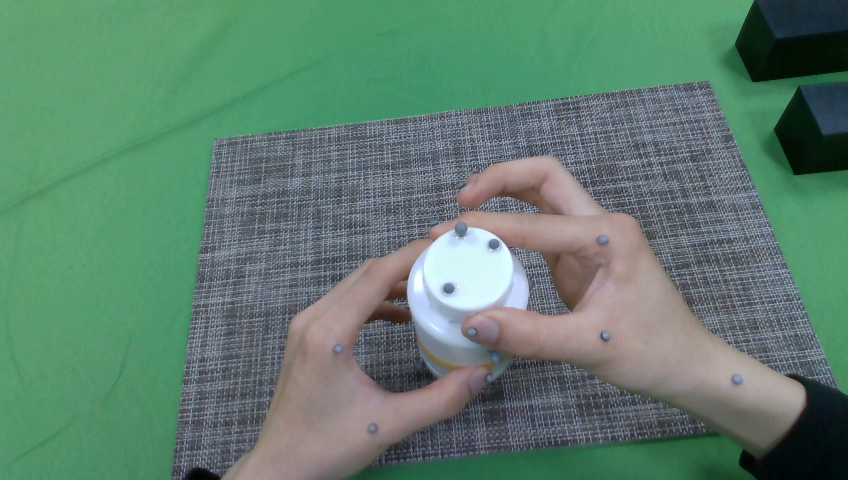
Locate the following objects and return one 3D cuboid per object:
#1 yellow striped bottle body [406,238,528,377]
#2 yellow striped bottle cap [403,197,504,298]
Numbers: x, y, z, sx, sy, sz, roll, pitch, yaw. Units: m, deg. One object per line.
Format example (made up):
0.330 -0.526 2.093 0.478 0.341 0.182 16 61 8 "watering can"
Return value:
0.022 0.034 0.337 0.063 0.121 0.062 0 67 1 "yellow striped bottle body"
0.014 0.004 0.271 0.044 0.019 0.044 -3 71 8 "yellow striped bottle cap"
